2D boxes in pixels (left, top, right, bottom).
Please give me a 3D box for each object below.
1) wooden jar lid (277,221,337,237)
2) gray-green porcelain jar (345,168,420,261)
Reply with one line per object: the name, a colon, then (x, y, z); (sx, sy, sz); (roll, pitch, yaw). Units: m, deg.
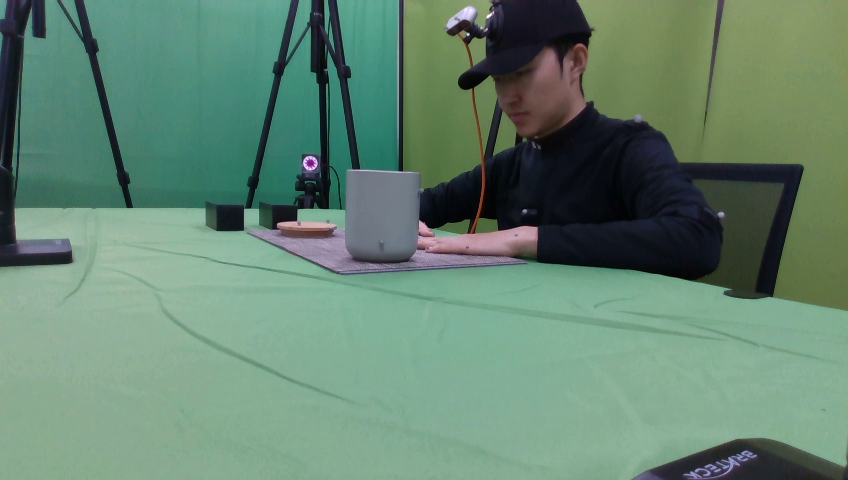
wooden jar lid: (-0.215, -0.021, 1.112); (0.108, 0.020, 0.108); (3, 7, 0)
gray-green porcelain jar: (-0.059, -0.037, 0.858); (0.106, 0.126, 0.106); (2, 7, 0)
